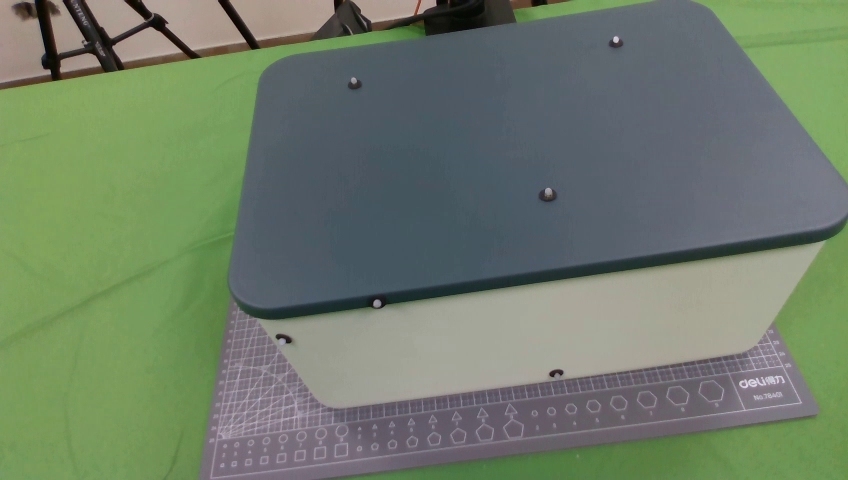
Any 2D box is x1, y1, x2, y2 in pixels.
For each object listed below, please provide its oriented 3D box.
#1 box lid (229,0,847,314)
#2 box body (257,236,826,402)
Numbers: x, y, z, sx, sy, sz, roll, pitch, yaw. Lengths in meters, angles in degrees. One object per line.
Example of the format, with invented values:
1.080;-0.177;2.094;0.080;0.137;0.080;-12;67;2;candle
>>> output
0.055;-0.079;0.423;0.371;0.015;0.260;-8;49;2;box lid
0.068;-0.031;0.479;0.364;0.162;0.251;-9;49;2;box body
